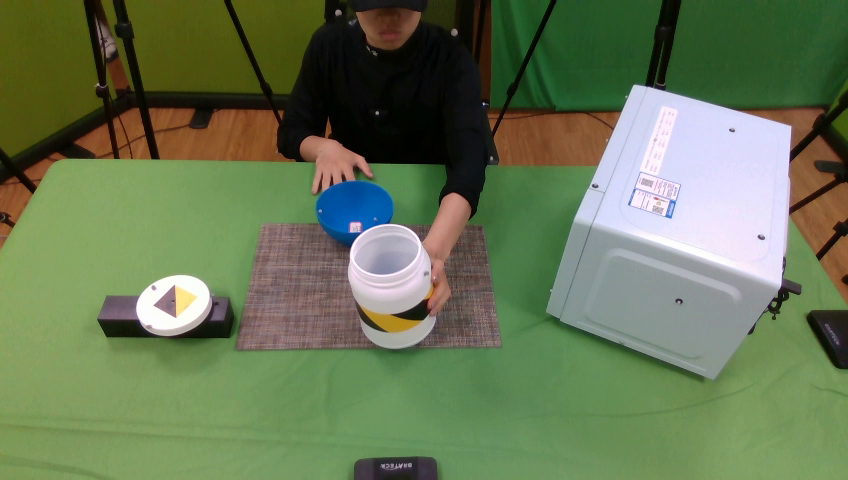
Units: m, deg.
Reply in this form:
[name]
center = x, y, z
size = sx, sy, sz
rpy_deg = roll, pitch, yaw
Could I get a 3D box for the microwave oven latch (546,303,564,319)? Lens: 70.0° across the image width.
[microwave oven latch]
center = 0.242, 0.102, 1.081
size = 0.030, 0.029, 0.079
rpy_deg = 21, 48, 17

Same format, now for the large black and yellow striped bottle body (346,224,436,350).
[large black and yellow striped bottle body]
center = -0.051, 0.075, 0.969
size = 0.131, 0.185, 0.130
rpy_deg = -3, 47, 3

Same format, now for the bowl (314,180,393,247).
[bowl]
center = -0.135, -0.039, 1.181
size = 0.151, 0.077, 0.150
rpy_deg = 2, 46, -2

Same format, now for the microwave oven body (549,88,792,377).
[microwave oven body]
center = 0.456, -0.028, 1.088
size = 0.325, 0.261, 0.440
rpy_deg = 20, 47, 16

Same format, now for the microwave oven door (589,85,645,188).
[microwave oven door]
center = 0.341, -0.107, 1.149
size = 0.039, 0.245, 0.354
rpy_deg = 20, 48, 15

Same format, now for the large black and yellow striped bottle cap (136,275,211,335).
[large black and yellow striped bottle cap]
center = -0.412, 0.105, 0.999
size = 0.115, 0.019, 0.114
rpy_deg = 3, 46, -3
